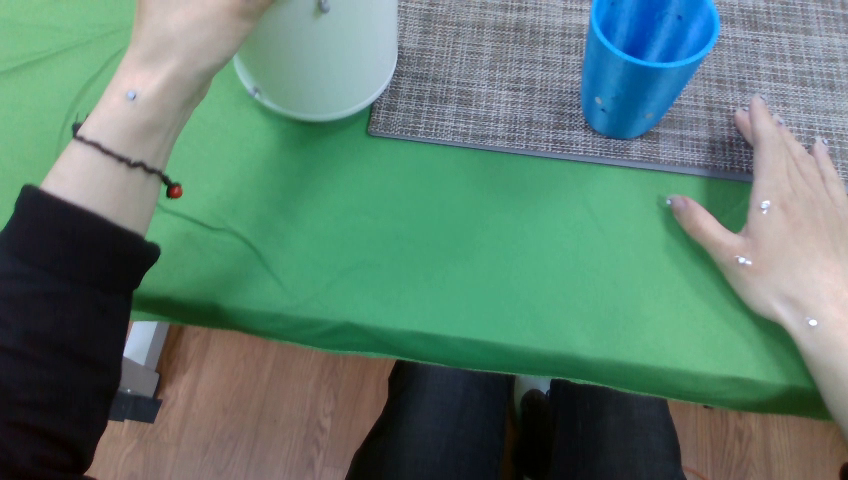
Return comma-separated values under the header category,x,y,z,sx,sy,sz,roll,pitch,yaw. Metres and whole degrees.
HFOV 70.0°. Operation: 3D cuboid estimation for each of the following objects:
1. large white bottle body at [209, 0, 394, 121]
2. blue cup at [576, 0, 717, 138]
category,x,y,z,sx,sy,sz,roll,pitch,yaw
large white bottle body,-0.086,-0.184,0.418,0.131,0.185,0.129,1,68,-3
blue cup,0.152,-0.127,0.445,0.092,0.101,0.092,-1,66,2
